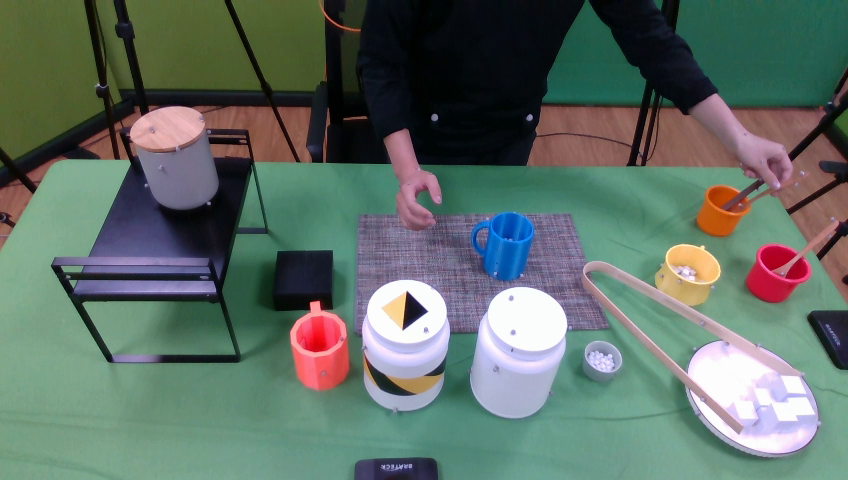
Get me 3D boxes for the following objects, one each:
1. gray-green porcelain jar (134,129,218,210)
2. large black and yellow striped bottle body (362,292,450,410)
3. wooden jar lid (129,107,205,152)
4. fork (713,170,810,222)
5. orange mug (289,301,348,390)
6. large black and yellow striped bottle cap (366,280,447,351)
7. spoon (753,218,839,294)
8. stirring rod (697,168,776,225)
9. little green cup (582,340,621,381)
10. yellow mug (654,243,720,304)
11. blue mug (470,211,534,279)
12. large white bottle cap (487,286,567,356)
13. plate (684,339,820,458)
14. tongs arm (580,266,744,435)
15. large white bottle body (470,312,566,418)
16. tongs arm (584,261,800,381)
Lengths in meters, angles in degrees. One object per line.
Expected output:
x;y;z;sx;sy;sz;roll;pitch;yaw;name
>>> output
-0.388;-0.120;0.960;0.106;0.127;0.105;2;46;-2;gray-green porcelain jar
-0.029;0.163;0.928;0.131;0.185;0.130;2;47;-2;large black and yellow striped bottle body
-0.385;-0.163;0.915;0.108;0.021;0.107;2;47;-2;wooden jar lid
0.662;-0.086;1.200;0.019;0.207;0.028;15;60;-21;fork
-0.170;0.162;0.976;0.083;0.101;0.125;-7;52;-11;orange mug
-0.025;0.106;0.865;0.115;0.019;0.114;2;46;-1;large black and yellow striped bottle cap
0.700;0.031;1.138;0.194;0.022;0.041;-47;54;14;spoon
0.644;-0.089;1.251;0.176;0.006;0.014;-39;54;17;stirring rod
0.295;0.204;1.014;0.061;0.039;0.061;2;45;-2;little green cup
0.504;0.054;1.154;0.099;0.064;0.130;28;49;22;yellow mug
0.141;0.005;1.140;0.116;0.106;0.082;18;48;13;blue mug
0.147;0.114;0.869;0.115;0.018;0.114;3;46;-3;large white bottle cap
0.523;0.256;0.982;0.208;0.039;0.206;2;46;-2;plate
0.384;0.173;1.028;0.028;0.028;0.385;-25;46;-15;tongs arm
0.143;0.173;0.930;0.131;0.185;0.130;2;46;-2;large white bottle body
0.452;0.137;1.064;0.051;0.027;0.382;-34;50;-27;tongs arm
